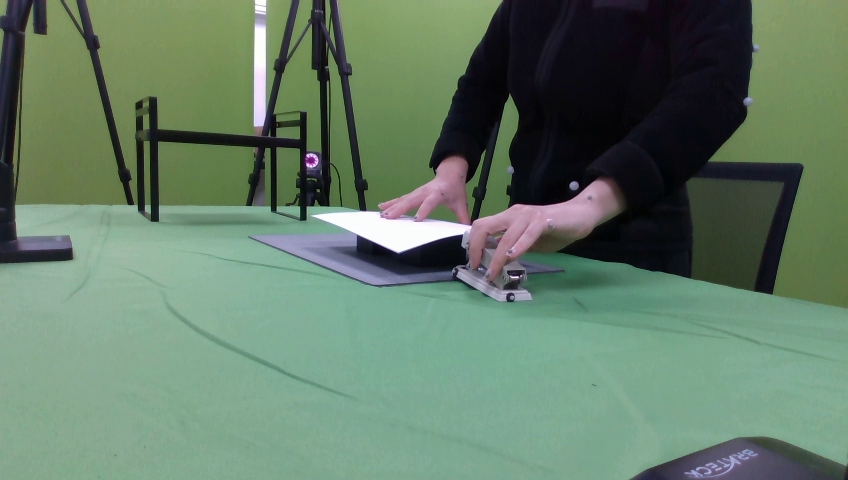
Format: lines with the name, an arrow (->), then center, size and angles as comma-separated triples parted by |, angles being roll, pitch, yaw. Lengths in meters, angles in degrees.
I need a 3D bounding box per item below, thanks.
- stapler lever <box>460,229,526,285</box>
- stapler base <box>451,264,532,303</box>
stapler lever -> 0.074, 0.016, 0.675 | 0.027, 0.040, 0.117 | -5, 15, -21
stapler base -> 0.072, 0.041, 0.682 | 0.041, 0.024, 0.130 | -5, 15, -21
